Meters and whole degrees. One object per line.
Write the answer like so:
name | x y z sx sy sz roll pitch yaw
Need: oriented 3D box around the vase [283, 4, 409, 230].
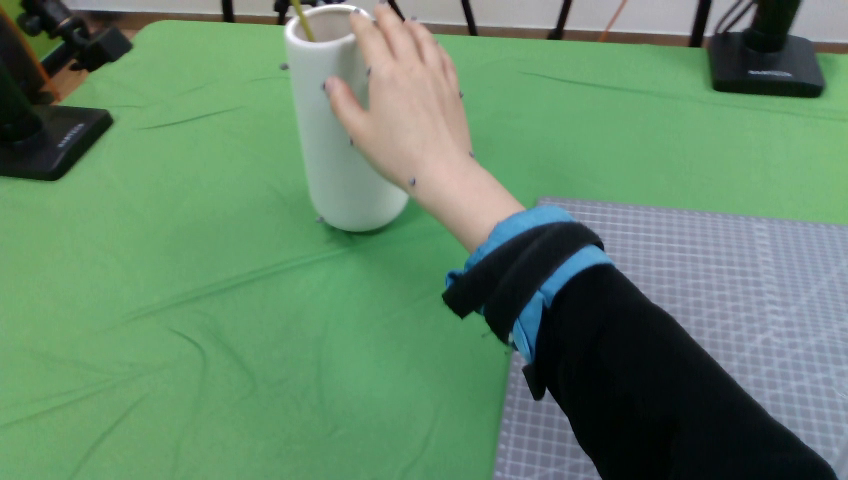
vase | -0.068 -0.102 0.547 0.098 0.202 0.097 -2 46 2

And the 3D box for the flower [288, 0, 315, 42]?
flower | -0.094 -0.164 0.495 0.044 0.365 0.038 -40 38 -21
